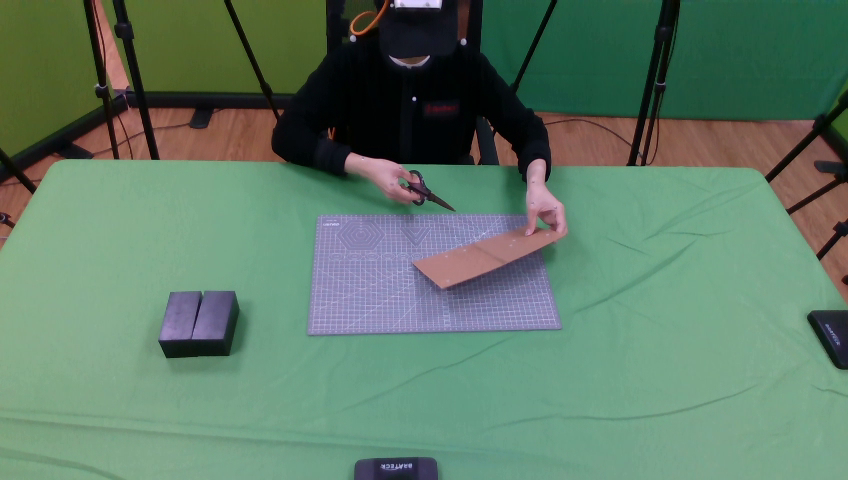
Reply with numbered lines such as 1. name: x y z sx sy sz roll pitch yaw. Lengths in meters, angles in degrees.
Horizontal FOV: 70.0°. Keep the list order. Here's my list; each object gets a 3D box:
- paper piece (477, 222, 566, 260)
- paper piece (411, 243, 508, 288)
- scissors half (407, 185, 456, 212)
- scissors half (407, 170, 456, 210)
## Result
1. paper piece: 0.182 0.000 1.170 0.136 0.004 0.135 -23 18 -16
2. paper piece: 0.063 0.044 1.128 0.138 0.009 0.135 -18 21 -18
3. scissors half: 0.014 -0.078 1.204 0.013 0.040 0.174 -18 24 -27
4. scissors half: 0.015 -0.096 1.194 0.013 0.040 0.174 -13 38 -31
